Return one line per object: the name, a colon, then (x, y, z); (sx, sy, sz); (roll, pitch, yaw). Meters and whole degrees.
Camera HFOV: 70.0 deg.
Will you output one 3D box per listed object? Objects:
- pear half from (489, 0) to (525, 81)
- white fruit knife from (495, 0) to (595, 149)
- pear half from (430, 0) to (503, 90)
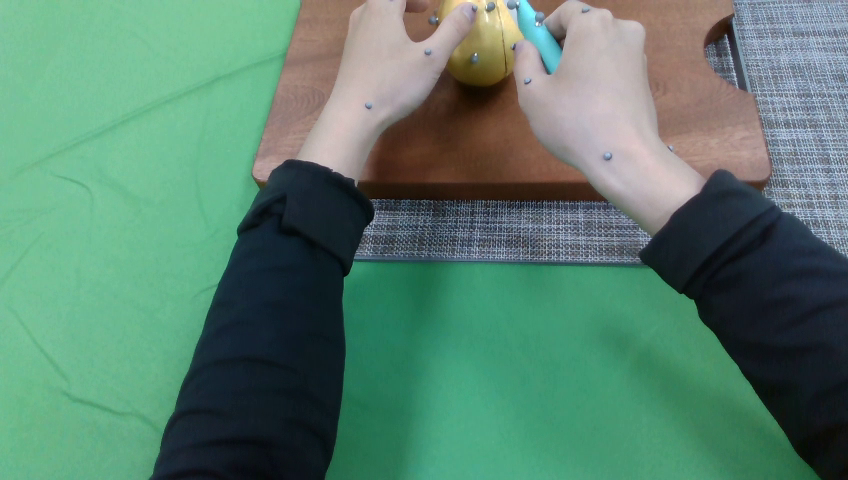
pear half: (0.067, -0.174, 0.491); (0.031, 0.089, 0.069); (-16, 55, -2)
white fruit knife: (0.066, -0.152, 0.422); (0.016, 0.027, 0.205); (-19, 66, -11)
pear half: (0.031, -0.172, 0.482); (0.056, 0.111, 0.075); (-17, 52, 0)
